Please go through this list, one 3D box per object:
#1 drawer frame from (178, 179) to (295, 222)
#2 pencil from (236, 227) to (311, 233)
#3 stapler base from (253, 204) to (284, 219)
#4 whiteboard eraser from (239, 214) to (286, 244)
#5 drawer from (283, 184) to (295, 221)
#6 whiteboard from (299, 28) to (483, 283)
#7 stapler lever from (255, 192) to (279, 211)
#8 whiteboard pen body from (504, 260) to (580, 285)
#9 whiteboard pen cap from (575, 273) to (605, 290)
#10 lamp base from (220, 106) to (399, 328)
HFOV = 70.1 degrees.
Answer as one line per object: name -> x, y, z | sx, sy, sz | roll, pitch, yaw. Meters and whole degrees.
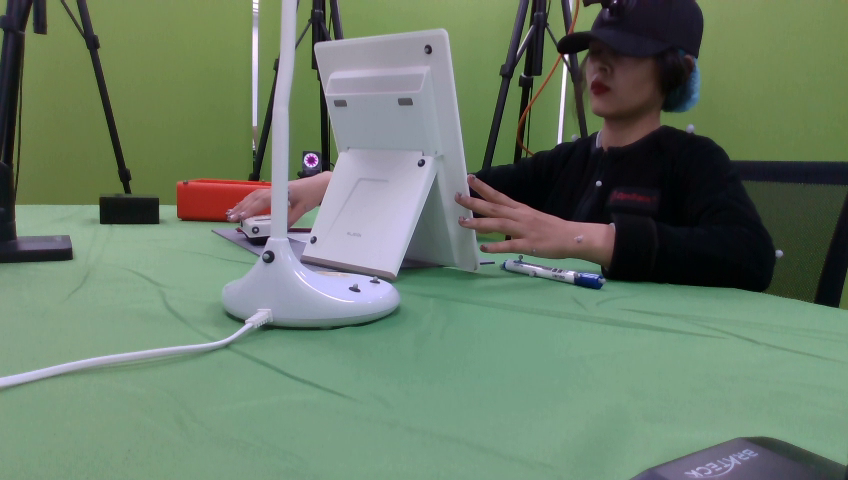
drawer frame -> -0.397, -0.088, 1.315 | 0.214, 0.082, 0.201 | 1, 8, -7
pencil -> -0.239, -0.017, 1.093 | 0.195, 0.012, 0.012 | 1, 7, -27
stapler base -> -0.337, -0.065, 1.308 | 0.041, 0.024, 0.130 | 1, 9, -1
whiteboard eraser -> -0.257, -0.018, 0.958 | 0.056, 0.042, 0.112 | -4, 9, -24
drawer -> -0.394, -0.086, 1.317 | 0.212, 0.073, 0.194 | 1, 8, -7
whiteboard -> -0.075, -0.082, 0.741 | 0.216, 0.305, 0.144 | 9, 30, 38
stapler lever -> -0.338, -0.088, 1.305 | 0.027, 0.040, 0.118 | 1, 11, -1
whiteboard pen body -> 0.157, 0.042, 0.763 | 0.017, 0.017, 0.140 | -4, 10, -41
whiteboard pen cap -> 0.197, 0.047, 0.719 | 0.018, 0.018, 0.033 | -4, 11, -40
lamp base -> -0.101, -0.023, 0.531 | 0.160, 0.180, 0.179 | 4, 10, 10
